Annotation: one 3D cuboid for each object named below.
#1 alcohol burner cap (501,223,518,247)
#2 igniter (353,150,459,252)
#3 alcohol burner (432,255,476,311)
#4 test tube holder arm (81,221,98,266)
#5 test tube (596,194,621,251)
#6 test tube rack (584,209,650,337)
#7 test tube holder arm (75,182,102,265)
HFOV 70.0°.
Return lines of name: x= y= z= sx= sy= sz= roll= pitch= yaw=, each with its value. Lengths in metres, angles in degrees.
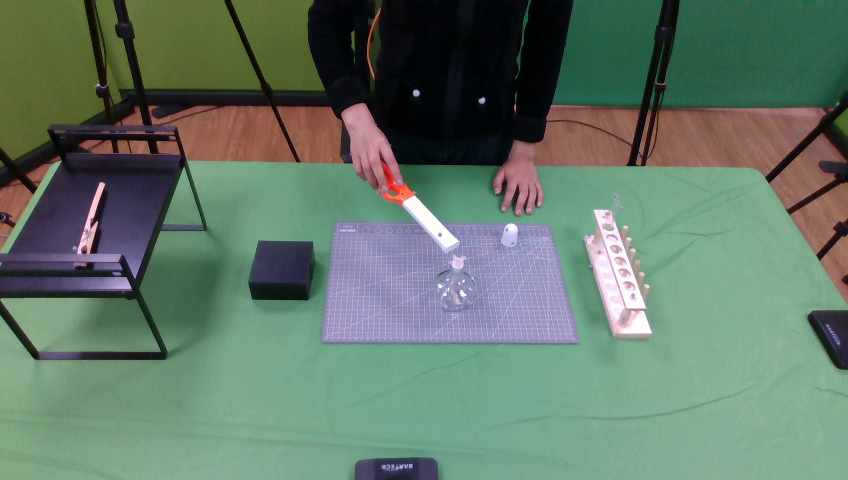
alcohol burner cap: x=0.172 y=-0.013 z=1.206 sx=0.034 sy=0.048 sz=0.033 roll=1 pitch=46 yaw=-1
igniter: x=-0.037 y=-0.078 z=1.100 sx=0.057 sy=0.025 sz=0.275 roll=-31 pitch=62 yaw=-25
alcohol burner: x=0.055 y=0.070 z=1.068 sx=0.078 sy=0.119 sz=0.077 roll=3 pitch=45 yaw=-3
test tube holder arm: x=-0.503 y=0.004 z=0.910 sx=0.010 sy=0.015 sz=0.087 roll=26 pitch=32 yaw=-36
test tube: x=0.346 y=-0.029 z=1.141 sx=0.017 sy=0.151 sz=0.017 roll=0 pitch=50 yaw=0
test tube rack: x=0.365 y=0.056 z=1.129 sx=0.067 sy=0.085 sz=0.240 roll=1 pitch=46 yaw=-4
test tube holder arm: x=-0.518 y=-0.030 z=0.937 sx=0.013 sy=0.015 sz=0.177 roll=25 pitch=33 yaw=-37
